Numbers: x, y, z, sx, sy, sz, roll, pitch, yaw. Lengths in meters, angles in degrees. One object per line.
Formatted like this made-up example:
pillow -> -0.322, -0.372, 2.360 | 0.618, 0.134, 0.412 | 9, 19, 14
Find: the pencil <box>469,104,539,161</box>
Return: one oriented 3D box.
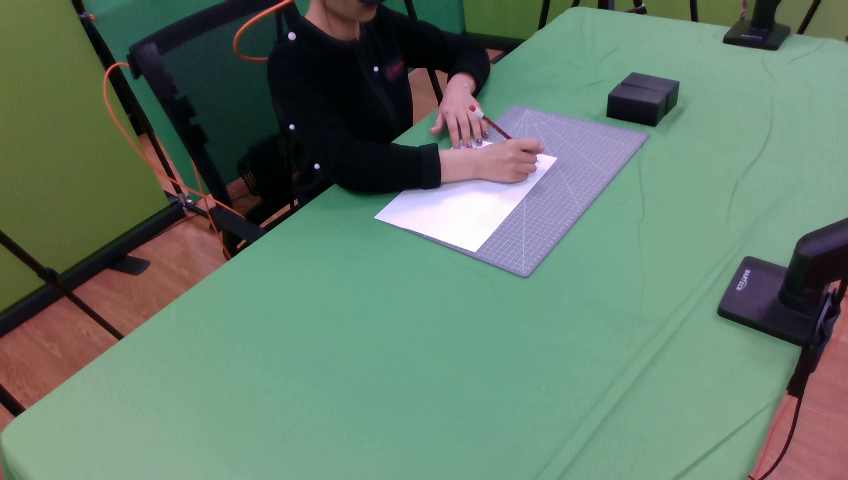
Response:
pencil -> 0.144, -0.184, 1.058 | 0.012, 0.196, 0.012 | -27, 49, 36
